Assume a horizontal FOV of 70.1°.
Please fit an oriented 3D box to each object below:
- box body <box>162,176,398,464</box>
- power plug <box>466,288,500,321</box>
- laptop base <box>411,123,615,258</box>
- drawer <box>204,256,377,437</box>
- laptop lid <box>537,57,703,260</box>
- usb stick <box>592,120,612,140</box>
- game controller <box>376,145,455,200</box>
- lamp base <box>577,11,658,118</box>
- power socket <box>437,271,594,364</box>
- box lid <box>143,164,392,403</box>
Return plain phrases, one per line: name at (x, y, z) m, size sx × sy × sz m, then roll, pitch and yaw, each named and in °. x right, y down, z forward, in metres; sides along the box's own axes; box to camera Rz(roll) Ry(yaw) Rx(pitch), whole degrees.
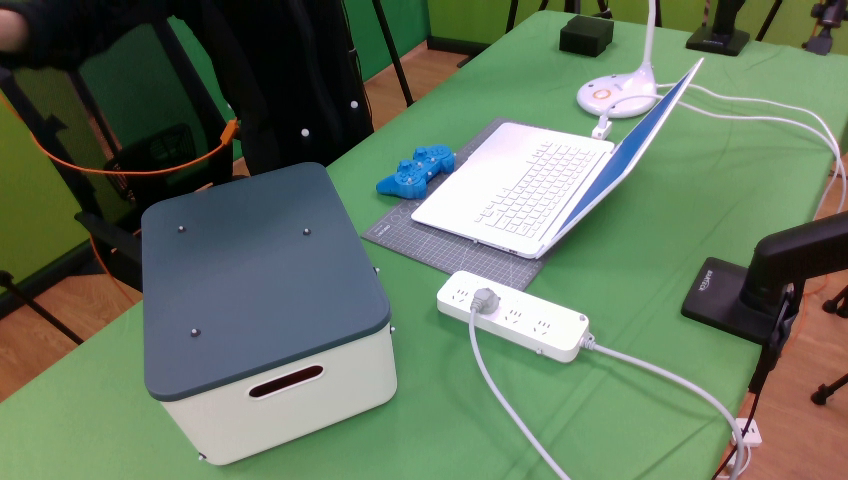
box body at (-0.205, 0.080, 0.802) m, size 0.255 × 0.161 × 0.361 m, roll -18°, pitch 41°, yaw -13°
power plug at (0.072, 0.093, 0.813) m, size 0.035 × 0.053 × 0.073 m, roll 30°, pitch 55°, yaw 35°
laptop base at (0.167, -0.102, 1.074) m, size 0.234 × 0.023 × 0.355 m, roll 16°, pitch 45°, yaw 30°
drawer at (-0.178, 0.129, 0.786) m, size 0.195 × 0.073 × 0.210 m, roll -13°, pitch 39°, yaw -10°
laptop lid at (0.304, -0.127, 0.928) m, size 0.013 × 0.241 × 0.357 m, roll 39°, pitch 51°, yaw 4°
usb stick at (0.335, -0.203, 1.149) m, size 0.021 × 0.027 × 0.059 m, roll 26°, pitch 53°, yaw 26°
game controller at (-0.011, -0.131, 1.112) m, size 0.096 × 0.052 × 0.155 m, roll 23°, pitch 49°, yaw 28°
lamp base at (0.406, -0.363, 1.222) m, size 0.180 × 0.181 × 0.159 m, roll -20°, pitch 42°, yaw -18°
power socket at (0.118, 0.102, 0.830) m, size 0.225 × 0.033 × 0.072 m, roll 20°, pitch 48°, yaw 28°
box lid at (-0.212, 0.025, 0.753) m, size 0.264 × 0.015 × 0.368 m, roll -18°, pitch 40°, yaw -13°
